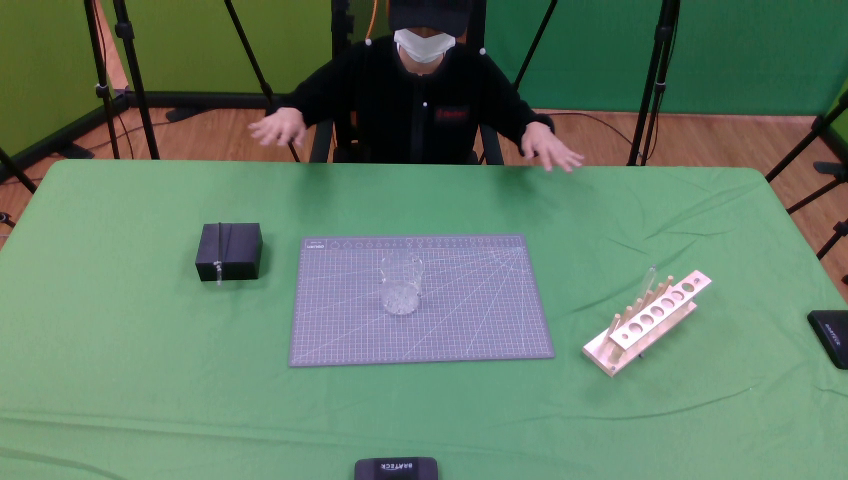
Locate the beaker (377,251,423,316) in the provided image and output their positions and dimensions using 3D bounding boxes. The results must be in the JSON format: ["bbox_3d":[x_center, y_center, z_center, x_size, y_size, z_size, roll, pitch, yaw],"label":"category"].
[{"bbox_3d":[-0.040,0.081,1.060,0.074,0.101,0.083,-32,57,-30],"label":"beaker"}]

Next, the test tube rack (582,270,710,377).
[{"bbox_3d":[0.389,0.132,1.057,0.242,0.085,0.066,-28,53,-28],"label":"test tube rack"}]

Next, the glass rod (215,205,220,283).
[{"bbox_3d":[-0.376,0.003,1.104,0.008,0.008,0.198,-8,47,-12],"label":"glass rod"}]

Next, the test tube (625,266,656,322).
[{"bbox_3d":[0.366,0.096,1.027,0.017,0.151,0.017,1,47,0],"label":"test tube"}]
